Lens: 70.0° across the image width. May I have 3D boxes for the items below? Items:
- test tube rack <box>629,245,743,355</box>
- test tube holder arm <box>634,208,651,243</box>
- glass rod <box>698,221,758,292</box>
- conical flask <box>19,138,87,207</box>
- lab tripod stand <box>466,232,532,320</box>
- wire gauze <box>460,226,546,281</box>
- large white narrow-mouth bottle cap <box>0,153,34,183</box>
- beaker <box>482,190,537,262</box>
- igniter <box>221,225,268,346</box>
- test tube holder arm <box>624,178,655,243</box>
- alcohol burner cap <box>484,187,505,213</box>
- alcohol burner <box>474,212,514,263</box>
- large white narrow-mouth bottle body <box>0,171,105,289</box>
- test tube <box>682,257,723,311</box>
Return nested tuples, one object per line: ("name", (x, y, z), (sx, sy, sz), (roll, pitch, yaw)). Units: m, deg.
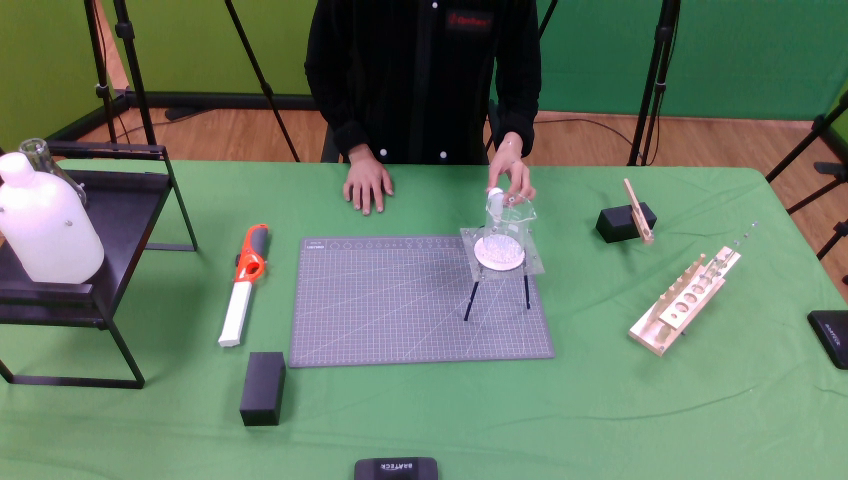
("test tube rack", (0.474, 0.095, 1.091), (0.242, 0.085, 0.066), (-34, 56, -31))
("test tube holder arm", (0.428, -0.030, 1.189), (0.010, 0.015, 0.087), (1, 47, -2))
("glass rod", (0.527, 0.035, 1.059), (0.008, 0.200, 0.008), (5, 49, -6))
("conical flask", (-0.576, -0.097, 0.930), (0.075, 0.122, 0.075), (2, 46, -2))
("lab tripod stand", (0.125, 0.059, 1.065), (0.148, 0.132, 0.147), (1, 45, 0))
("wire gauze", (0.130, 0.017, 1.016), (0.121, 0.011, 0.124), (-4, 43, -9))
("large white narrow-mouth bottle cap", (-0.510, -0.090, 0.754), (0.038, 0.024, 0.037), (2, 46, -2))
("beaker", (0.136, -0.019, 0.983), (0.084, 0.101, 0.073), (17, 47, 14))
("igniter", (-0.323, 0.072, 1.100), (0.057, 0.025, 0.274), (-6, 45, 5))
("test tube holder arm", (0.433, -0.062, 1.220), (0.013, 0.015, 0.177), (0, 47, -2))
("alcohol burner cap", (0.128, -0.075, 1.086), (0.034, 0.048, 0.033), (3, 52, -4))
("alcohol burner", (0.134, -0.013, 1.150), (0.078, 0.120, 0.077), (0, 47, 0))
("large white narrow-mouth bottle body", (-0.513, -0.029, 0.818), (0.102, 0.195, 0.101), (2, 46, -2))
("test tube", (0.475, 0.080, 1.037), (0.017, 0.151, 0.017), (1, 50, -1))
